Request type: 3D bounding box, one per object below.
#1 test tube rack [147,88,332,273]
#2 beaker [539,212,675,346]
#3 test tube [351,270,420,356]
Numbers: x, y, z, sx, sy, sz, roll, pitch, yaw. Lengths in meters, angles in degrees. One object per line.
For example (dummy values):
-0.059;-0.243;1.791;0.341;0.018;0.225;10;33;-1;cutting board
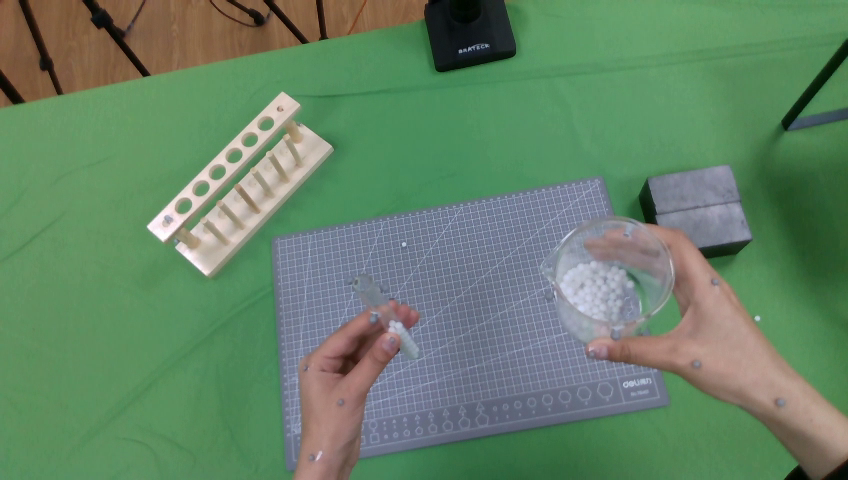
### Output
-0.236;-0.078;0.799;0.066;0.086;0.242;37;78;18;test tube rack
0.125;0.033;0.429;0.084;0.101;0.073;3;71;13;beaker
-0.027;0.064;0.490;0.017;0.152;0.017;-7;59;12;test tube
